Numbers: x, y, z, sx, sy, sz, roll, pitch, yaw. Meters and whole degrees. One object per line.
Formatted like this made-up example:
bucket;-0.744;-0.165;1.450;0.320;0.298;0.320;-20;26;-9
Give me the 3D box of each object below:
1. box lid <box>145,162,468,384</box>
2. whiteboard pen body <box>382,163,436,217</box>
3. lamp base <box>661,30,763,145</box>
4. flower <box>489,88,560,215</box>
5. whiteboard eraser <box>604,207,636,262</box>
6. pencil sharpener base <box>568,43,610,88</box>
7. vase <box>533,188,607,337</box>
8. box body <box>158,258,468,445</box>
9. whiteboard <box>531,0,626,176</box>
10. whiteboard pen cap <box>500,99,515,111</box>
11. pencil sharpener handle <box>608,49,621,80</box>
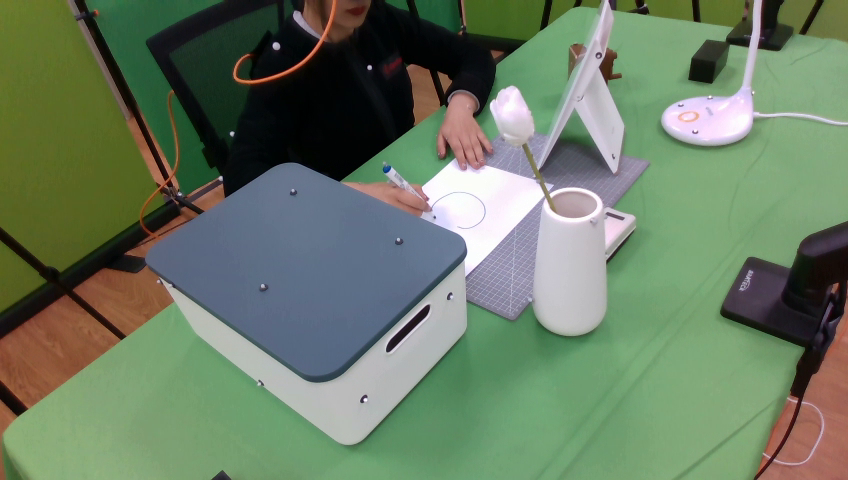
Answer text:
box lid;-0.157;0.014;0.769;0.368;0.015;0.264;25;51;33
whiteboard pen body;-0.021;-0.078;0.992;0.017;0.142;0.017;-25;43;26
lamp base;0.535;-0.287;1.096;0.179;0.181;0.159;-10;40;-4
flower;0.158;-0.027;0.720;0.038;0.364;0.044;-14;44;23
whiteboard eraser;0.272;-0.003;0.919;0.055;0.042;0.113;27;51;32
pencil sharpener base;0.345;-0.352;1.263;0.077;0.107;0.061;-8;40;1
vase;0.187;0.033;0.771;0.098;0.201;0.097;-6;41;6
box body;-0.147;0.072;0.816;0.361;0.161;0.255;24;50;33
whiteboard;0.320;-0.259;1.050;0.144;0.306;0.217;22;46;6
whiteboard pen cap;0.177;-0.287;1.290;0.033;0.018;0.018;-37;47;-26
pencil sharpener handle;0.394;-0.367;1.253;0.030;0.068;0.036;-8;32;1
